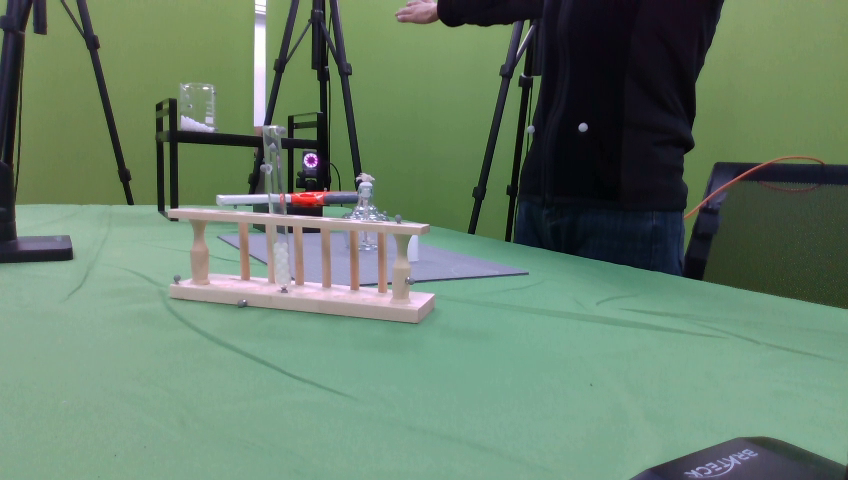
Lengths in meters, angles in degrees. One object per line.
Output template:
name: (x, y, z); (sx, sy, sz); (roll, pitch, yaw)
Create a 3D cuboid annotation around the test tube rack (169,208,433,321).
test tube rack: (-0.115, 0.018, 0.574); (0.242, 0.085, 0.067); (4, 8, 14)

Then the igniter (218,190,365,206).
igniter: (-0.247, -0.080, 1.155); (0.278, 0.025, 0.057); (-4, 12, -26)

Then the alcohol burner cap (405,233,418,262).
alcohol burner cap: (-0.024, 0.005, 0.847); (0.034, 0.048, 0.034); (3, 10, 0)

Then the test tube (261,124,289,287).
test tube: (-0.136, -0.030, 0.554); (0.017, 0.150, 0.017); (-2, 10, 1)

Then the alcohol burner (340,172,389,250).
alcohol burner: (-0.093, -0.045, 0.939); (0.078, 0.119, 0.078); (0, 7, 0)

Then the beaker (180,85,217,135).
beaker: (-0.478, -0.275, 1.279); (0.074, 0.100, 0.084); (4, 8, 15)
